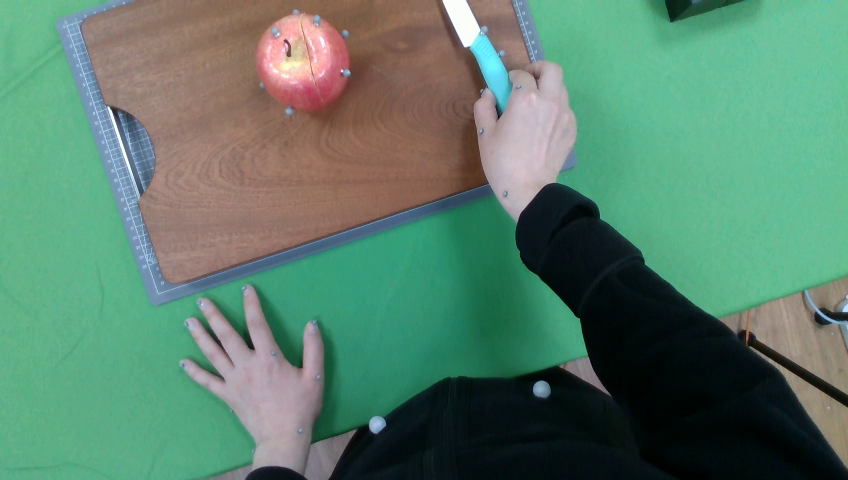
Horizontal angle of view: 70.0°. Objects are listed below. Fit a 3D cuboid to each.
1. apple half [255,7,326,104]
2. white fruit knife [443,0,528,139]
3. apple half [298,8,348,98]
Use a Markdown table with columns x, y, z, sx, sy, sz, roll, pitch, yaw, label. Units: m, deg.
| x | y | z | sx | sy | sz | roll | pitch | yaw | label |
| --- | --- | --- | --- | --- | --- | --- | --- | --- | --- |
| -0.121 | -0.160 | 0.542 | 0.053 | 0.074 | 0.081 | -13 | 95 | 4 | apple half |
| 0.048 | -0.192 | 0.568 | 0.027 | 0.016 | 0.207 | -25 | 87 | -2 | white fruit knife |
| -0.084 | -0.168 | 0.541 | 0.033 | 0.081 | 0.081 | -13 | 91 | 2 | apple half |
